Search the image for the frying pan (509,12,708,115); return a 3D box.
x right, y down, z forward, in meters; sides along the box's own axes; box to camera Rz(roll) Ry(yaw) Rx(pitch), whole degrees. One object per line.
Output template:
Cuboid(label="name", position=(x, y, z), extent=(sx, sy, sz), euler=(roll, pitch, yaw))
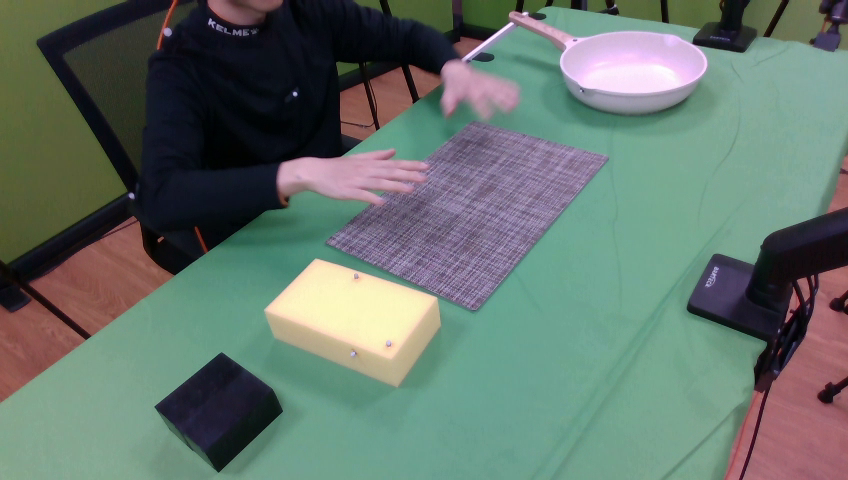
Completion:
Cuboid(label="frying pan", position=(0.369, -0.409, 1.328), extent=(0.308, 0.103, 0.484), euler=(-31, 54, -26))

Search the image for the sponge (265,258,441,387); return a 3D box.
Cuboid(label="sponge", position=(-0.096, 0.107, 0.830), extent=(0.205, 0.061, 0.118), euler=(16, 46, 25))
